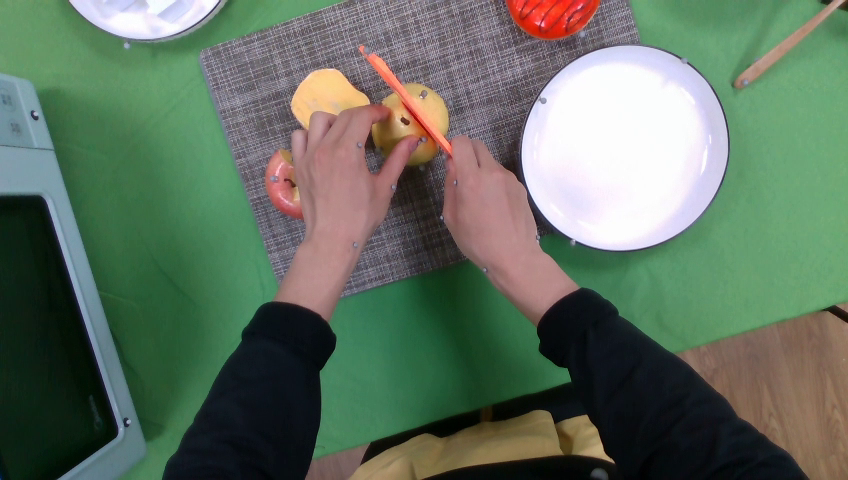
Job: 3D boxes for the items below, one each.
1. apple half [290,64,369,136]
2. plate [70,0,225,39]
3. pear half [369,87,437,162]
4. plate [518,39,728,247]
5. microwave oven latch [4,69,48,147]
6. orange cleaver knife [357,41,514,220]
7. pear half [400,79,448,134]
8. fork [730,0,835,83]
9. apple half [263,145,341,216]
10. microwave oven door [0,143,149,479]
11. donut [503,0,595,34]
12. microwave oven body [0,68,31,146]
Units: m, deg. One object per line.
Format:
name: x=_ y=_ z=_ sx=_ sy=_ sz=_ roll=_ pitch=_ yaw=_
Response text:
apple half: x=-0.101 y=-0.140 z=0.637 sx=0.081 sy=0.033 sz=0.081 roll=2 pitch=75 yaw=-9
plate: x=-0.286 y=-0.315 z=0.633 sx=0.207 sy=0.039 sz=0.208 roll=0 pitch=96 yaw=3
pear half: x=-0.028 y=-0.110 z=0.600 sx=0.056 sy=0.110 sz=0.076 roll=-41 pitch=86 yaw=8
plate: x=0.201 y=-0.098 z=0.626 sx=0.209 sy=0.038 sz=0.209 roll=0 pitch=96 yaw=3
microwave oven latch: x=-0.430 y=-0.138 z=0.643 sx=0.030 sy=0.029 sz=0.079 roll=-13 pitch=96 yaw=4
orange cleaver knife: x=0.012 y=-0.101 z=0.569 sx=0.012 sy=0.076 sz=0.213 roll=-41 pitch=111 yaw=5
pear half: x=0.003 y=-0.138 z=0.609 sx=0.070 sy=0.088 sz=0.031 roll=44 pitch=90 yaw=6
fork: x=0.385 y=-0.228 z=0.579 sx=0.028 sy=0.018 sz=0.207 roll=41 pitch=117 yaw=-8
apple half: x=-0.133 y=-0.055 z=0.632 sx=0.081 sy=0.074 sz=0.053 roll=37 pitch=101 yaw=-5
microwave oven door: x=-0.382 y=0.084 z=0.563 sx=0.039 sy=0.243 sz=0.356 roll=-15 pitch=95 yaw=5
donut: x=0.126 y=-0.258 z=0.609 sx=0.099 sy=0.048 sz=0.099 roll=1 pitch=98 yaw=6
microwave oven body: x=-0.534 y=0.079 z=0.577 sx=0.326 sy=0.260 sz=0.442 roll=-15 pitch=96 yaw=4
